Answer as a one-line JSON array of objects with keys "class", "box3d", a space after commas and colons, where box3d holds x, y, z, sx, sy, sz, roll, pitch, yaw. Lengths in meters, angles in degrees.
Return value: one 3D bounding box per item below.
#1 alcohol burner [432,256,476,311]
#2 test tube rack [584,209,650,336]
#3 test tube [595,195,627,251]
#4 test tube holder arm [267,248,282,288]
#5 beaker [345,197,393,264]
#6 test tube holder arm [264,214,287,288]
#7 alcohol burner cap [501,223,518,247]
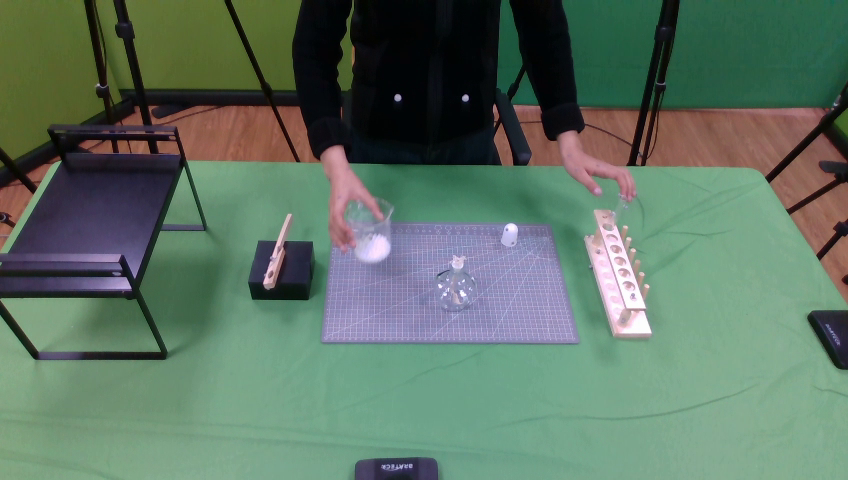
[{"class": "alcohol burner", "box3d": [0.055, 0.070, 1.068, 0.078, 0.119, 0.077, 3, 45, -3]}, {"class": "test tube rack", "box3d": [0.365, 0.056, 1.129, 0.067, 0.085, 0.240, 1, 46, -3]}, {"class": "test tube", "box3d": [0.350, -0.029, 1.140, 0.017, 0.151, 0.017, 3, 50, -3]}, {"class": "test tube holder arm", "box3d": [-0.262, 0.048, 1.068, 0.010, 0.015, 0.087, 3, 45, -3]}, {"class": "beaker", "box3d": [-0.091, -0.015, 1.044, 0.084, 0.101, 0.073, -17, 49, -17]}, {"class": "test tube holder arm", "box3d": [-0.268, 0.016, 1.099, 0.013, 0.015, 0.177, 2, 45, -4]}, {"class": "alcohol burner cap", "box3d": [0.172, -0.013, 1.207, 0.034, 0.048, 0.033, 1, 45, -1]}]
